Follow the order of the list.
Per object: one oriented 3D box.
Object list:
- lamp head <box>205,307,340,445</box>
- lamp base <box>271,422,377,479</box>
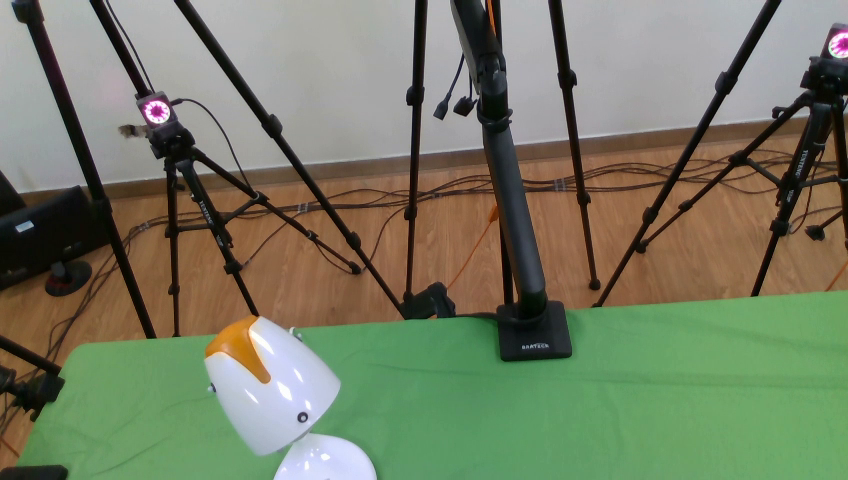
[{"bbox_3d":[-0.165,0.129,0.624,0.112,0.123,0.112,-35,9,7],"label":"lamp head"},{"bbox_3d":[-0.166,0.298,0.853,0.161,0.182,0.177,-27,46,-15],"label":"lamp base"}]
